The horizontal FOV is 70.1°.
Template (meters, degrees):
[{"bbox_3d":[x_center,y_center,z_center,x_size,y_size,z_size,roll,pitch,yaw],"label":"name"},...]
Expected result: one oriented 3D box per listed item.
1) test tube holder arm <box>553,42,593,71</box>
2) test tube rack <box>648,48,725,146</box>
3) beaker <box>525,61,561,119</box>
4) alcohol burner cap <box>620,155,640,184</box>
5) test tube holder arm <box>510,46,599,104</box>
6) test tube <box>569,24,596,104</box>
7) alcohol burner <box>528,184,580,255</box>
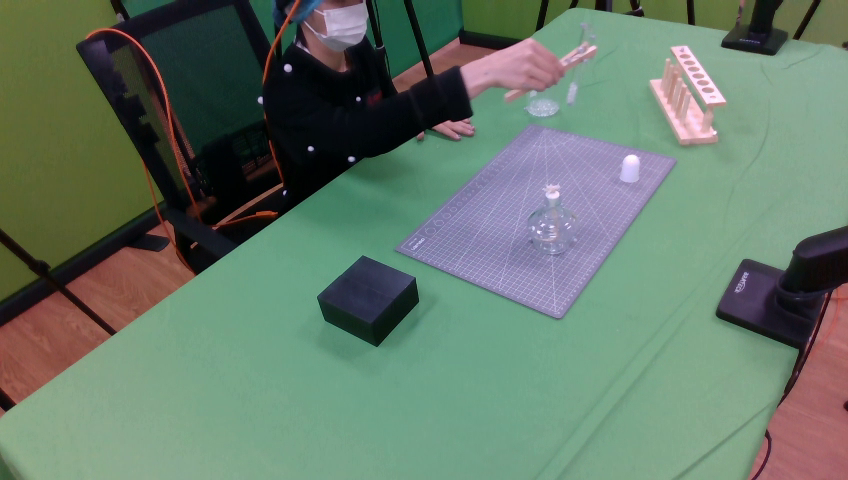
[{"bbox_3d":[0.241,-0.292,0.978,0.088,0.015,0.010,-40,58,-19],"label":"test tube holder arm"},{"bbox_3d":[0.508,-0.285,1.186,0.067,0.085,0.241,-4,40,6],"label":"test tube rack"},{"bbox_3d":[0.248,-0.308,1.245,0.084,0.101,0.073,-36,47,-30],"label":"beaker"},{"bbox_3d":[0.358,-0.124,1.047,0.034,0.048,0.033,-4,40,4],"label":"alcohol burner cap"},{"bbox_3d":[0.209,-0.264,0.963,0.179,0.015,0.013,-33,56,-15],"label":"test tube holder arm"},{"bbox_3d":[0.261,-0.287,1.002,0.017,0.151,0.017,0,52,0],"label":"test tube"},{"bbox_3d":[0.196,-0.036,0.911,0.078,0.119,0.077,-5,41,5],"label":"alcohol burner"}]
